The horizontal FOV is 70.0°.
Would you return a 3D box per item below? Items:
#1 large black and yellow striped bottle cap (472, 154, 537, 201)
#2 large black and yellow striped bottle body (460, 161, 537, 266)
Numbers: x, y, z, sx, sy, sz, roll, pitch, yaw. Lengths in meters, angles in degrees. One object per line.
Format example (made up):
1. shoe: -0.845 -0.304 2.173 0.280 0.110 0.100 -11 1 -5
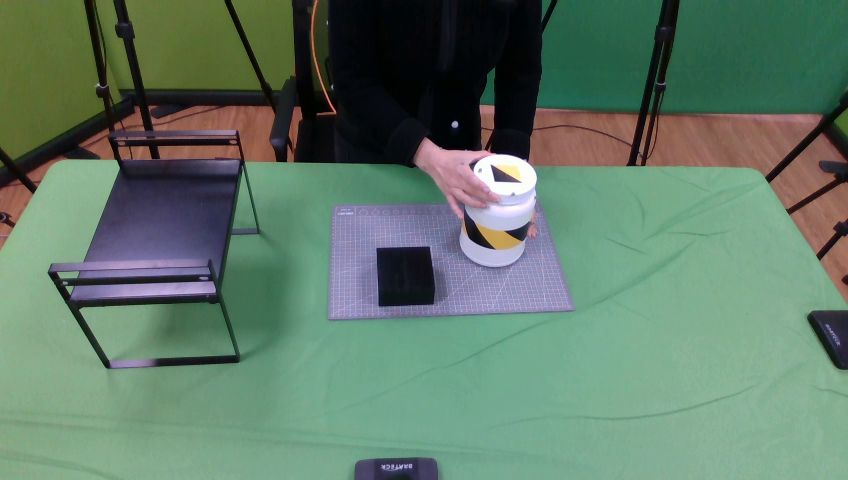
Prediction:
1. large black and yellow striped bottle cap: 0.144 -0.114 1.081 0.115 0.019 0.114 4 45 -4
2. large black and yellow striped bottle body: 0.141 -0.054 1.142 0.131 0.185 0.130 2 46 -2
